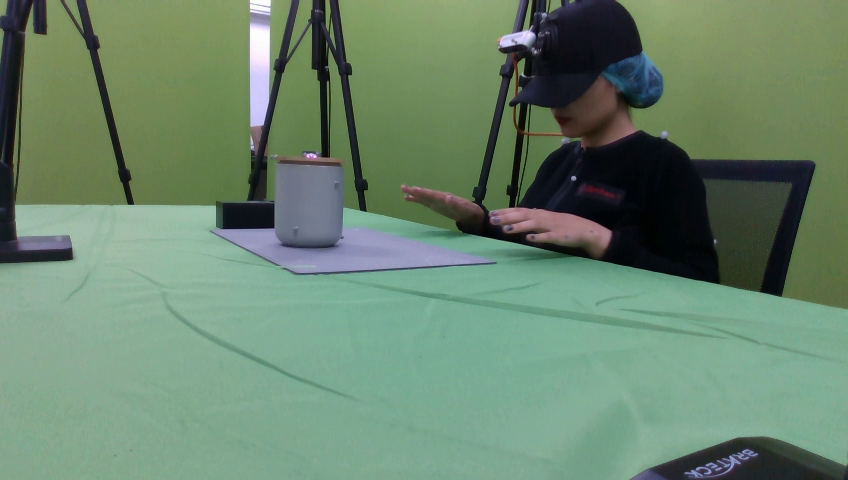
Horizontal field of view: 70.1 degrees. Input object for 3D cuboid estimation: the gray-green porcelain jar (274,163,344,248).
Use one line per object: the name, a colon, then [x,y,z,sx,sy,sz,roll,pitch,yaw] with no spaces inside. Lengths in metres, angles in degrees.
gray-green porcelain jar: [-0.180,-0.055,0.945,0.106,0.126,0.106,2,7,0]

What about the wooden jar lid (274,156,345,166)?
wooden jar lid: [-0.177,-0.119,0.936,0.108,0.020,0.108,2,8,0]
